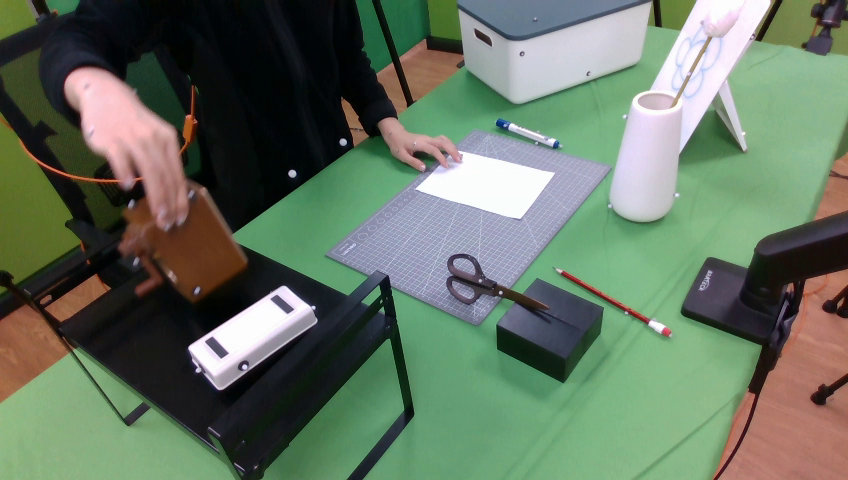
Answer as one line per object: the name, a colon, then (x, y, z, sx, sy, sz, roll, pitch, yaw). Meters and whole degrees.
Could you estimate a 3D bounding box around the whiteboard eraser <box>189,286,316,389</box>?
whiteboard eraser: (-0.166, 0.096, 0.593, 0.113, 0.042, 0.055, -36, 47, -29)

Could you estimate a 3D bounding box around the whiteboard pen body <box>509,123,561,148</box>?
whiteboard pen body: (0.209, -0.212, 1.196, 0.139, 0.017, 0.017, 30, 52, 33)

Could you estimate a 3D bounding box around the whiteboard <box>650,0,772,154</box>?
whiteboard: (0.543, -0.298, 1.076, 0.144, 0.305, 0.216, 12, 40, -7)

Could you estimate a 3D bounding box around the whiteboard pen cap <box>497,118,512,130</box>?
whiteboard pen cap: (0.165, -0.235, 1.227, 0.033, 0.018, 0.018, 31, 53, 31)

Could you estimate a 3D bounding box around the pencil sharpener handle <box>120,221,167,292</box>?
pencil sharpener handle: (-0.281, 0.017, 0.591, 0.031, 0.068, 0.035, -39, 30, -26)

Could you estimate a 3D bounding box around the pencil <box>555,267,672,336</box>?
pencil: (0.260, 0.082, 0.850, 0.012, 0.012, 0.192, -33, 46, -27)

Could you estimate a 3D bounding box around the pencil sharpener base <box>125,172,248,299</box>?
pencil sharpener base: (-0.244, -0.003, 0.623, 0.077, 0.107, 0.061, -39, 42, -26)

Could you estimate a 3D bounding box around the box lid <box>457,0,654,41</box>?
box lid: (0.285, -0.522, 1.323, 0.373, 0.015, 0.261, -22, 43, -16)

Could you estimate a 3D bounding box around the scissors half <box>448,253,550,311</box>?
scissors half: (0.098, 0.058, 0.821, 0.173, 0.040, 0.013, 27, 34, 37)

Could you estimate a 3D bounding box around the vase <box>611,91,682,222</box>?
vase: (0.348, -0.125, 0.935, 0.098, 0.201, 0.097, -3, 40, 3)

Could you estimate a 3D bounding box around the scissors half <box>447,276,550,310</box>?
scissors half: (0.098, 0.077, 0.827, 0.174, 0.040, 0.013, 6, 15, 45)

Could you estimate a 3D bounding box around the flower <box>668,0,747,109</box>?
flower: (0.354, -0.187, 0.879, 0.038, 0.362, 0.044, 30, 48, 14)

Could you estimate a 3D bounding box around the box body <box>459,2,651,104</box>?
box body: (0.291, -0.465, 1.371, 0.365, 0.161, 0.252, -22, 42, -16)
